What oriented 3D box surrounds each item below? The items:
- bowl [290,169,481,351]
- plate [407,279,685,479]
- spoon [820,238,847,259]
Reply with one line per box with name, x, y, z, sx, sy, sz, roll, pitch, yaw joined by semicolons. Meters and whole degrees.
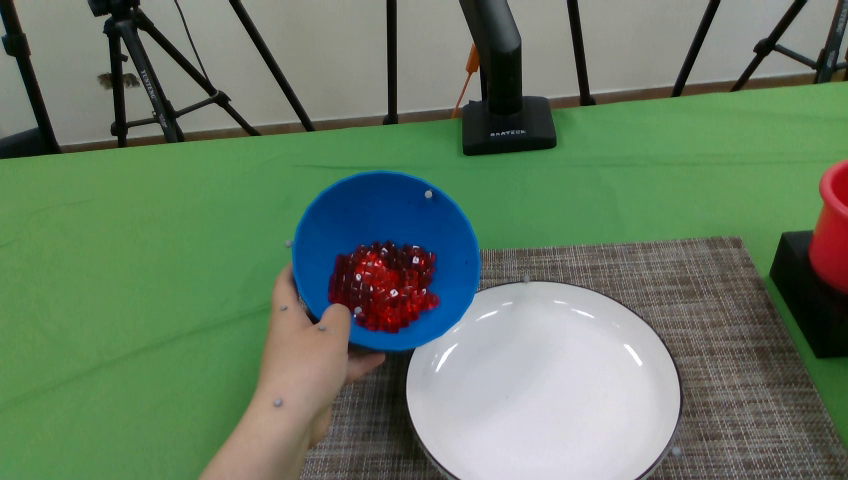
bowl;-0.035;0.025;0.507;0.152;0.077;0.150;4;69;-11
plate;0.092;0.115;0.476;0.207;0.039;0.205;-5;40;5
spoon;0.344;-0.010;0.405;0.041;0.194;0.021;-15;79;-7
